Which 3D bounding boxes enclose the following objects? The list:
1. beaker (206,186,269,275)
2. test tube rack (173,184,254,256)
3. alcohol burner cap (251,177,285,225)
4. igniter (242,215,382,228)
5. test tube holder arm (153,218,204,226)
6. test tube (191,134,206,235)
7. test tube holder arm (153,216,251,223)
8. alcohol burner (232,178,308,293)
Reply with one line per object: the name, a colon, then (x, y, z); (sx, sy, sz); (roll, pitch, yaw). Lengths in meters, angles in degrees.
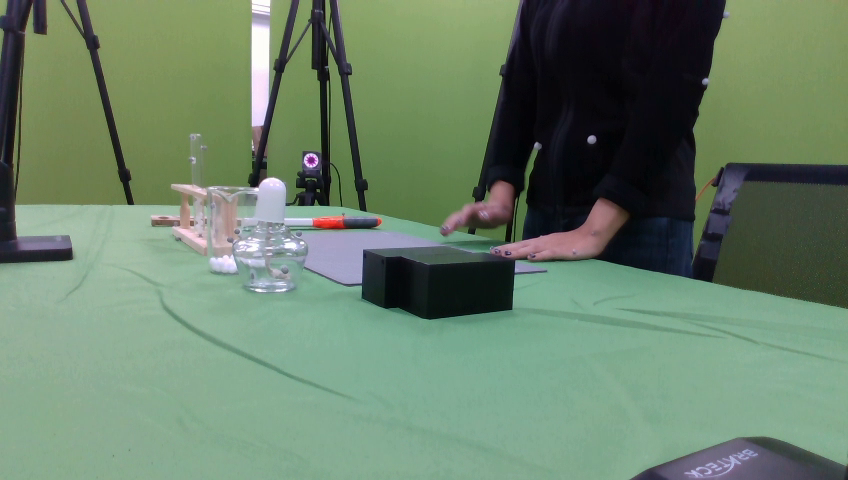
beaker: (-0.220, -0.012, 0.717); (0.074, 0.100, 0.084); (2, 8, -3)
test tube rack: (-0.328, -0.036, 0.927); (0.067, 0.085, 0.241); (-2, 9, -32)
alcohol burner cap: (-0.160, -0.041, 0.628); (0.034, 0.048, 0.034); (9, 6, -1)
igniter: (-0.212, -0.036, 1.186); (0.278, 0.025, 0.057); (-2, -2, -31)
test tube holder arm: (-0.459, -0.034, 1.132); (0.088, 0.015, 0.010); (-1, 43, -30)
test tube: (-0.336, -0.083, 0.903); (0.017, 0.150, 0.017); (-1, 5, 0)
test tube holder arm: (-0.422, -0.039, 1.159); (0.179, 0.015, 0.013); (-2, 43, -31)
alcohol burner: (-0.161, -0.006, 0.632); (0.078, 0.119, 0.078); (1, 8, 0)
